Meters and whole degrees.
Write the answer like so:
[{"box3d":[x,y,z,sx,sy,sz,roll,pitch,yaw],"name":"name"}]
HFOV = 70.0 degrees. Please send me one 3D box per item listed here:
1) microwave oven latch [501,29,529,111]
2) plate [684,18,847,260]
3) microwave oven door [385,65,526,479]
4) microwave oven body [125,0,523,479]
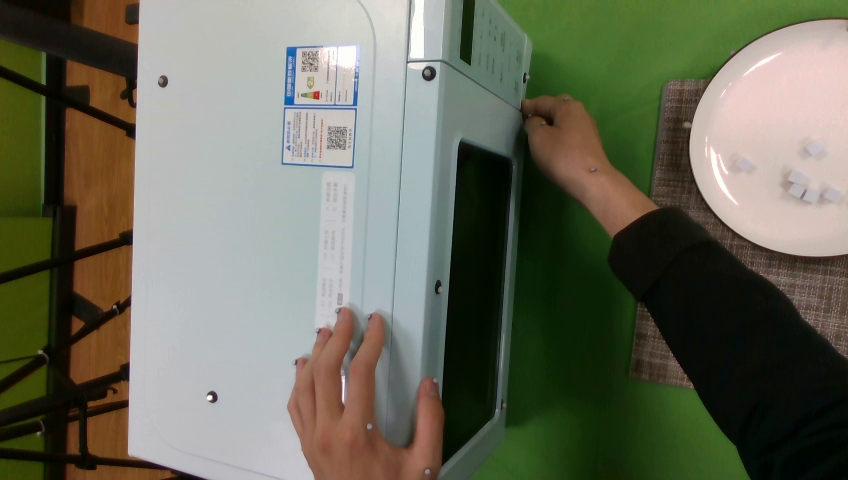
[{"box3d":[0.090,-0.176,0.629,0.030,0.029,0.079,11,97,22],"name":"microwave oven latch"},{"box3d":[0.344,-0.086,0.537,0.208,0.038,0.209,1,93,24],"name":"plate"},{"box3d":[0.035,0.046,0.553,0.039,0.245,0.356,5,94,24],"name":"microwave oven door"},{"box3d":[-0.094,-0.009,0.612,0.324,0.261,0.442,5,95,23],"name":"microwave oven body"}]
